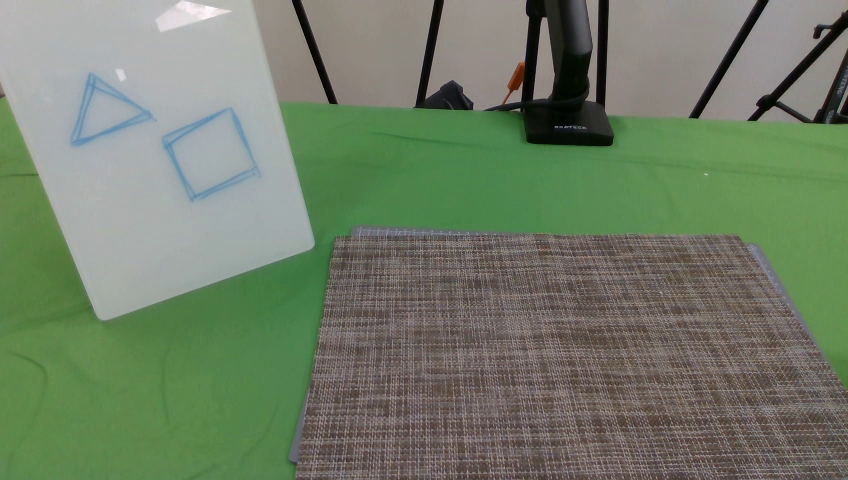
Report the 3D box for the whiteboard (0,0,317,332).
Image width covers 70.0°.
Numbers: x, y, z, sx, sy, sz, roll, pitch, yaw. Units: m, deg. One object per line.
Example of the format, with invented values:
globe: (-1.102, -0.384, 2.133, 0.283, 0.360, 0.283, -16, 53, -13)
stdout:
whiteboard: (-0.265, -0.105, 0.607, 0.218, 0.307, 0.142, -21, 23, -25)
